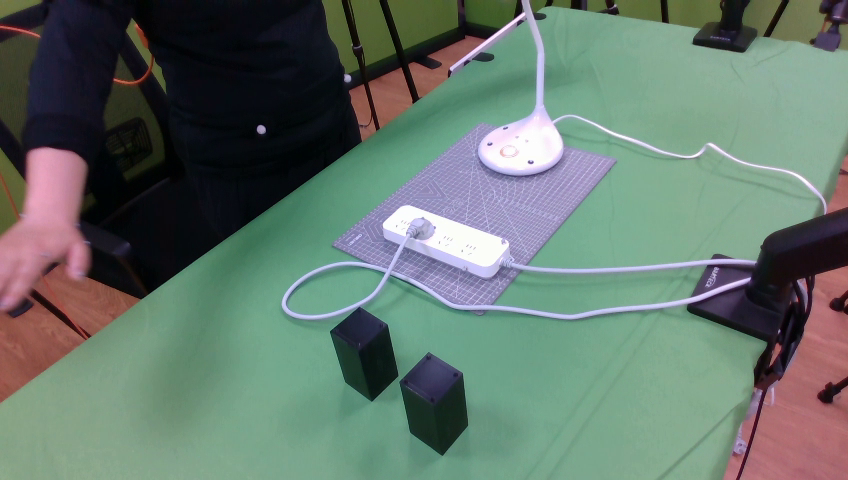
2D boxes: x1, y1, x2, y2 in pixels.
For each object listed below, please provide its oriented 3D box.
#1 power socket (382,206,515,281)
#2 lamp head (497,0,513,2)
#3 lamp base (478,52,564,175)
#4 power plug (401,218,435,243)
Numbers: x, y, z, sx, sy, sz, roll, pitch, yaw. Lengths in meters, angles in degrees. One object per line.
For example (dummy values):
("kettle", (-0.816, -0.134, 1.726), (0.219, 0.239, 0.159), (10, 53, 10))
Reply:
("power socket", (0.032, 0.002, 0.950), (0.225, 0.033, 0.072), (21, 49, 29))
("lamp head", (0.120, -0.420, 0.861), (0.111, 0.113, 0.123), (24, 72, 32))
("lamp base", (0.181, -0.236, 1.095), (0.159, 0.181, 0.179), (20, 44, 29))
("power plug", (-0.014, -0.005, 0.937), (0.073, 0.053, 0.035), (-37, 46, -27))
